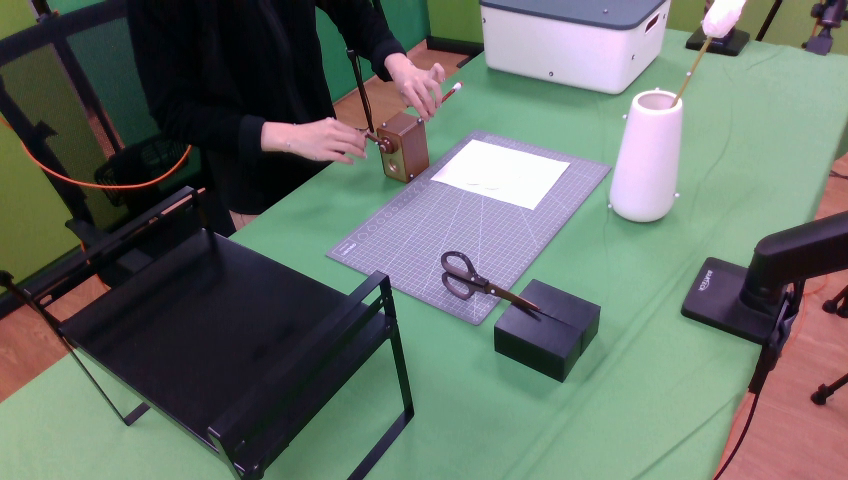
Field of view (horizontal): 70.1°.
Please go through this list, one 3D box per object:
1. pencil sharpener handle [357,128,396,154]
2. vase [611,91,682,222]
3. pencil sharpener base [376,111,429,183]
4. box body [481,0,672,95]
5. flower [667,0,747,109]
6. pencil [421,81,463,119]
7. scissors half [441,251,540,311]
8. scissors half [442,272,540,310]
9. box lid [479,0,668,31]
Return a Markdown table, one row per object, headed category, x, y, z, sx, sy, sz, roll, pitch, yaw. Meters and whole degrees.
| category | x | y | z | sx | sy | sz | roll | pitch | yaw |
| --- | --- | --- | --- | --- | --- | --- | --- | --- | --- |
| pencil sharpener handle | -0.085 | -0.171 | 1.071 | 0.067 | 0.036 | 0.031 | 39 | 55 | 12 |
| vase | 0.348 | -0.125 | 0.935 | 0.098 | 0.201 | 0.097 | -3 | 40 | 3 |
| pencil sharpener base | -0.039 | -0.170 | 1.115 | 0.061 | 0.107 | 0.077 | 24 | 50 | 31 |
| box body | 0.341 | -0.480 | 1.381 | 0.361 | 0.161 | 0.255 | 22 | 48 | 30 |
| flower | 0.354 | -0.187 | 0.879 | 0.038 | 0.362 | 0.044 | 31 | 48 | 14 |
| pencil | 0.021 | -0.255 | 1.157 | 0.012 | 0.012 | 0.194 | 22 | 51 | 29 |
| scissors half | 0.087 | 0.056 | 0.824 | 0.013 | 0.040 | 0.173 | -30 | 44 | -35 |
| scissors half | 0.089 | 0.074 | 0.832 | 0.013 | 0.040 | 0.173 | -24 | 23 | -38 |
| box lid | 0.335 | -0.536 | 1.331 | 0.368 | 0.015 | 0.264 | 23 | 49 | 30 |
